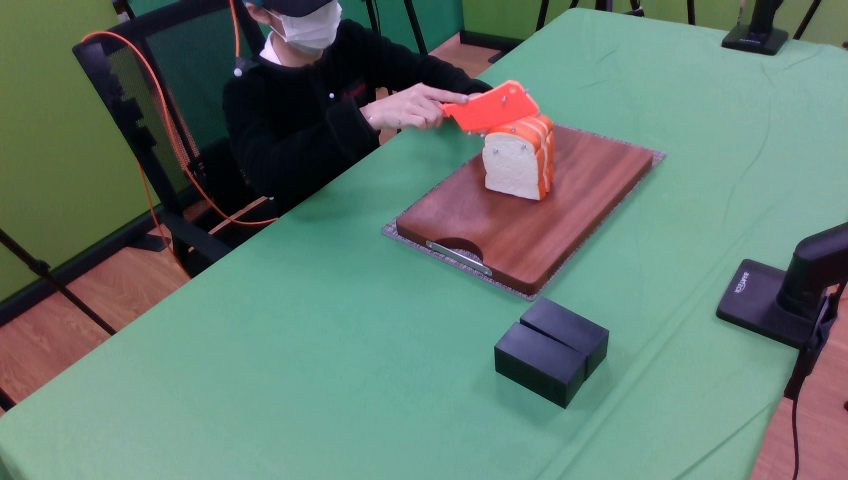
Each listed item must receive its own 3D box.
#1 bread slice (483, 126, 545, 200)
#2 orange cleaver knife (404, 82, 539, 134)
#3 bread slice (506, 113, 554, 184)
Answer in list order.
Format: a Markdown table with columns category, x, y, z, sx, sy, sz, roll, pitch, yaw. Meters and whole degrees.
| category | x | y | z | sx | sy | sz | roll | pitch | yaw |
| --- | --- | --- | --- | --- | --- | --- | --- | --- | --- |
| bread slice | 0.141 | -0.124 | 0.972 | 0.104 | 0.132 | 0.019 | 15 | 51 | 26 |
| orange cleaver knife | 0.070 | -0.194 | 0.934 | 0.210 | 0.078 | 0.012 | -6 | 50 | 30 |
| bread slice | 0.167 | -0.155 | 1.002 | 0.106 | 0.135 | 0.018 | 17 | 48 | 20 |
